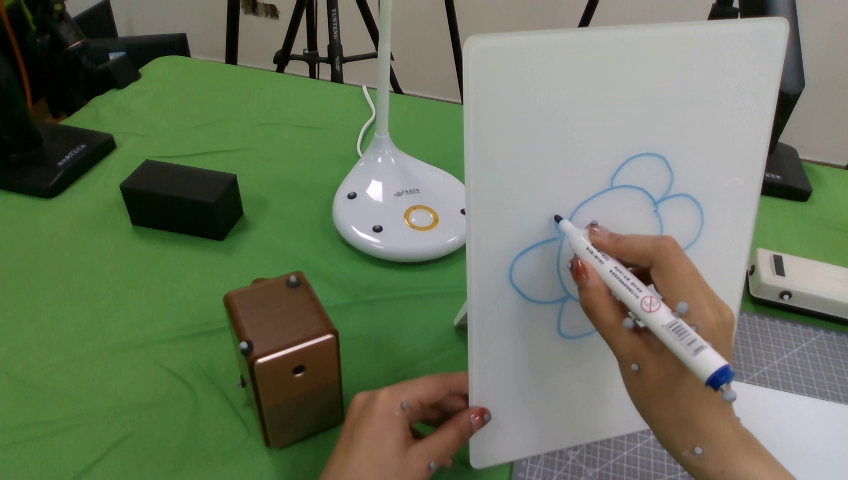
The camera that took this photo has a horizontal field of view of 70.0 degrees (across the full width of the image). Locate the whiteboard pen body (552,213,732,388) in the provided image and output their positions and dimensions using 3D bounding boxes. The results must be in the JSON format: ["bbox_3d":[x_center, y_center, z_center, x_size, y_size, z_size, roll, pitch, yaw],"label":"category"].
[{"bbox_3d":[0.113,0.026,0.338,0.017,0.017,0.139,-17,46,-22],"label":"whiteboard pen body"}]

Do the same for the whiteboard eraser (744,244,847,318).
[{"bbox_3d":[0.373,0.042,0.590,0.112,0.042,0.055,13,40,11],"label":"whiteboard eraser"}]

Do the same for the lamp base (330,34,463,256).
[{"bbox_3d":[-0.025,-0.103,0.616,0.161,0.182,0.177,-22,45,-27],"label":"lamp base"}]

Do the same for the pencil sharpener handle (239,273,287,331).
[{"bbox_3d":[-0.126,0.044,0.476,0.036,0.068,0.030,-24,47,-17],"label":"pencil sharpener handle"}]

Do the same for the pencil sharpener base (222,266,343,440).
[{"bbox_3d":[-0.104,0.084,0.450,0.061,0.108,0.076,-18,45,-23],"label":"pencil sharpener base"}]

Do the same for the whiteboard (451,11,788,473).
[{"bbox_3d":[0.114,-0.010,0.469,0.218,0.307,0.142,-8,23,-12],"label":"whiteboard"}]
